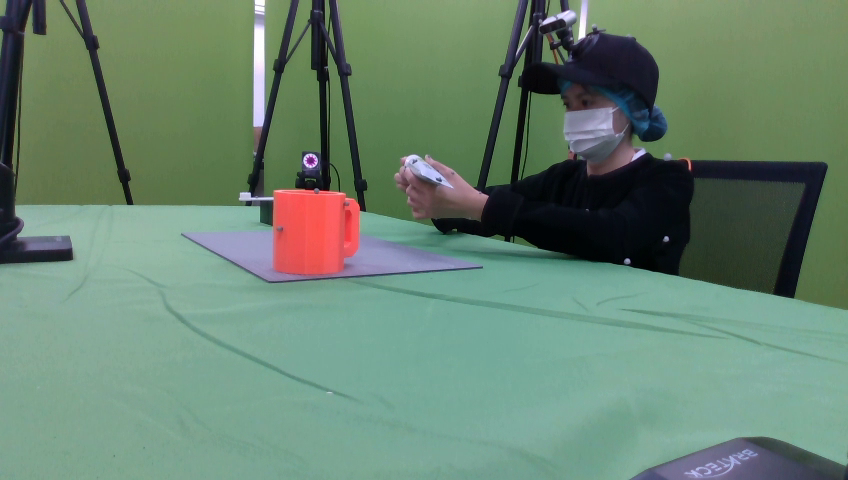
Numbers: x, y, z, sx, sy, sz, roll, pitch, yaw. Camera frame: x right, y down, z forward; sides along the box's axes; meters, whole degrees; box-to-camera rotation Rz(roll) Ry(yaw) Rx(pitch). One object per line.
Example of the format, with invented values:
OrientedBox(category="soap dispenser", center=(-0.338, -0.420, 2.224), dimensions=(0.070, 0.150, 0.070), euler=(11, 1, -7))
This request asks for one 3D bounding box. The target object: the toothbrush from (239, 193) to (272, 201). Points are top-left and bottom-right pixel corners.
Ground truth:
OrientedBox(category="toothbrush", center=(-0.286, -0.087, 1.236), dimensions=(0.183, 0.016, 0.014), euler=(-1, 4, -30))

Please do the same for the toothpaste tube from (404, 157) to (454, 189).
OrientedBox(category="toothpaste tube", center=(0.000, -0.111, 0.991), dimensions=(0.055, 0.034, 0.164), euler=(16, 10, -21))

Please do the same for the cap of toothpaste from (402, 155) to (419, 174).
OrientedBox(category="cap of toothpaste", center=(-0.020, -0.132, 1.064), dimensions=(0.037, 0.037, 0.011), euler=(0, 15, -19))

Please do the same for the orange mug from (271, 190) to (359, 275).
OrientedBox(category="orange mug", center=(-0.131, -0.013, 0.754), dimensions=(0.083, 0.101, 0.127), euler=(8, 13, 38))
